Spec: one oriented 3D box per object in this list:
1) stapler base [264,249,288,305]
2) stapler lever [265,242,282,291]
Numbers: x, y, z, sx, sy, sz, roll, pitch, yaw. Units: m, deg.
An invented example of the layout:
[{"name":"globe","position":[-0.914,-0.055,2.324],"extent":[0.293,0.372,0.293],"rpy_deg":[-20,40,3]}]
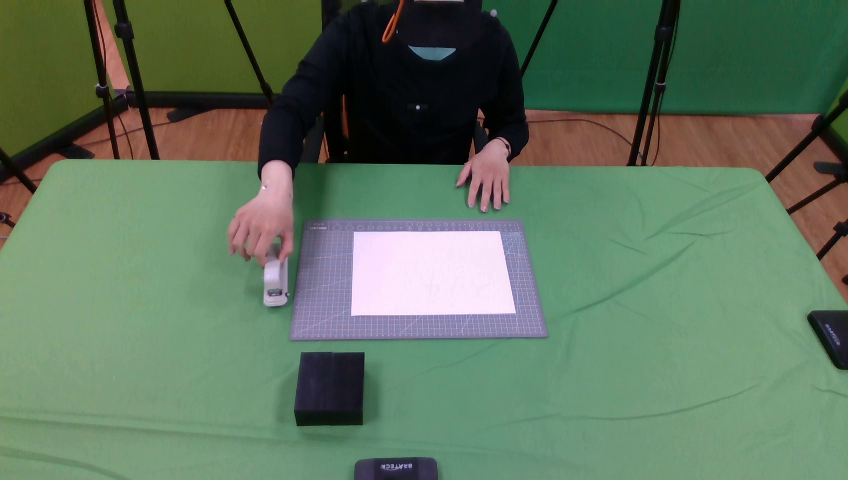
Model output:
[{"name":"stapler base","position":[-0.268,0.060,1.099],"extent":[0.041,0.024,0.129],"rpy_deg":[-2,45,-10]},{"name":"stapler lever","position":[-0.268,0.041,1.082],"extent":[0.027,0.040,0.117],"rpy_deg":[-3,45,-10]}]
